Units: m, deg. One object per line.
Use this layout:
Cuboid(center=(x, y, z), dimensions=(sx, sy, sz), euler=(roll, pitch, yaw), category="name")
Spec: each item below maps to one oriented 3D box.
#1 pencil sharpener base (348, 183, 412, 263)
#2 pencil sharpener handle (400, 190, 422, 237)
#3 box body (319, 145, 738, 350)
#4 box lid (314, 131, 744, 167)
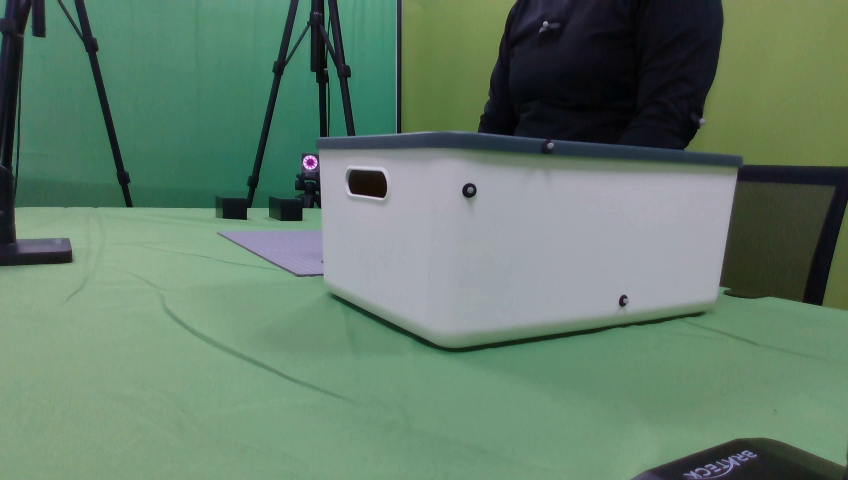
Cuboid(center=(-0.059, -0.024, 0.846), dimensions=(0.077, 0.107, 0.061), euler=(-1, 7, -30), category="pencil sharpener base")
Cuboid(center=(-0.016, -0.037, 0.872), dimensions=(0.031, 0.067, 0.036), euler=(-1, 16, -30), category="pencil sharpener handle")
Cuboid(center=(0.100, -0.013, 0.611), dimensions=(0.366, 0.160, 0.253), euler=(-2, 8, -32), category="box body")
Cuboid(center=(0.101, -0.085, 0.602), dimensions=(0.373, 0.015, 0.262), euler=(-2, 8, -32), category="box lid")
